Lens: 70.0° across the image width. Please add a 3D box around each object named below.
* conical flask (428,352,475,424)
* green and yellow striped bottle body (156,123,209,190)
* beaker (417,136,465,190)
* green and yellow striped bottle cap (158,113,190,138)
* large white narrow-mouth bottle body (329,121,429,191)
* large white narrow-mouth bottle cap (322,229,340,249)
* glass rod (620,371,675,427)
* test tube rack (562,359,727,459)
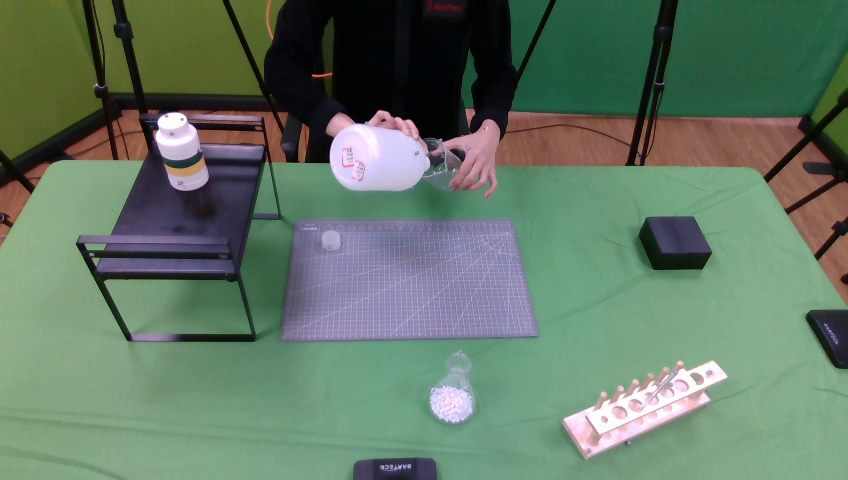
[{"bbox_3d":[0.046,0.220,0.920,0.075,0.122,0.075,2,46,-2],"label":"conical flask"},{"bbox_3d":[-0.395,-0.145,0.989,0.063,0.120,0.063,2,46,-2],"label":"green and yellow striped bottle body"},{"bbox_3d":[0.027,-0.136,1.109,0.083,0.101,0.074,36,96,28],"label":"beaker"},{"bbox_3d":[-0.393,-0.180,0.951,0.045,0.020,0.045,2,44,-2],"label":"green and yellow striped bottle cap"},{"bbox_3d":[-0.057,-0.131,0.989,0.101,0.102,0.195,38,21,28],"label":"large white narrow-mouth bottle body"},{"bbox_3d":[-0.182,-0.003,1.184,0.038,0.024,0.037,3,45,-3],"label":"large white narrow-mouth bottle cap"},{"bbox_3d":[0.316,0.230,0.863,0.008,0.200,0.008,3,54,-3],"label":"glass rod"},{"bbox_3d":[0.341,0.247,0.940,0.243,0.085,0.066,-16,49,-18],"label":"test tube rack"}]
